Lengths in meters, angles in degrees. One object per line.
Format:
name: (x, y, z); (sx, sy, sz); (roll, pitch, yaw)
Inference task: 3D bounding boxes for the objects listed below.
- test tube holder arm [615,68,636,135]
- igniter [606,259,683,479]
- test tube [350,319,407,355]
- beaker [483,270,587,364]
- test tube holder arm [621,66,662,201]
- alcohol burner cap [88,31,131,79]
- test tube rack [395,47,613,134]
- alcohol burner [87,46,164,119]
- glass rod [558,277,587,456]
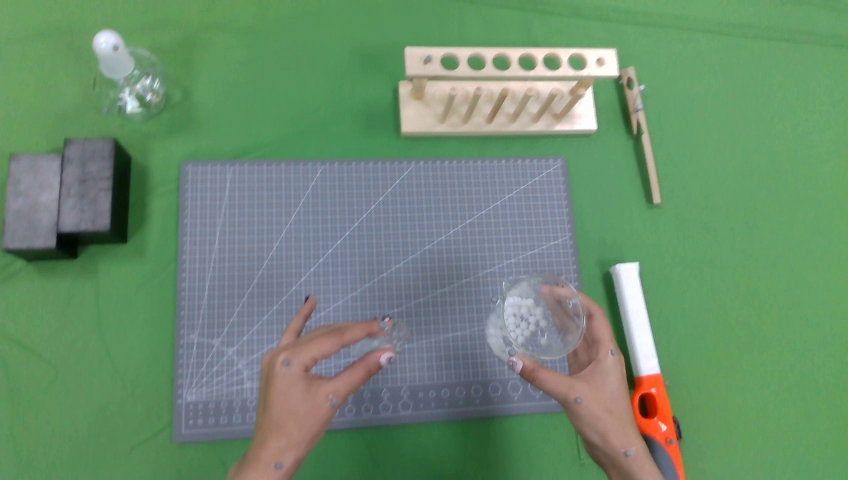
test tube holder arm: (0.258, -0.176, 0.770); (0.010, 0.015, 0.087); (-16, 78, 25)
igniter: (0.249, 0.158, 0.682); (0.057, 0.025, 0.275); (-4, 77, -19)
test tube: (-0.042, 0.084, 0.511); (0.017, 0.150, 0.017); (5, 74, -17)
beaker: (0.094, 0.073, 0.558); (0.074, 0.100, 0.083); (-42, 81, -15)
test tube holder arm: (0.272, -0.135, 0.759); (0.013, 0.015, 0.177); (-17, 77, 25)
alcohol burner cap: (-0.316, -0.188, 0.605); (0.034, 0.048, 0.033); (4, 69, -11)
test tube rack: (0.091, -0.173, 0.710); (0.243, 0.085, 0.066); (-2, 76, -8)
alcohol burner: (-0.321, -0.177, 0.639); (0.078, 0.119, 0.077); (2, 74, -5)
glass rod: (0.166, 0.139, 0.681); (0.008, 0.008, 0.198); (-3, 76, -9)
